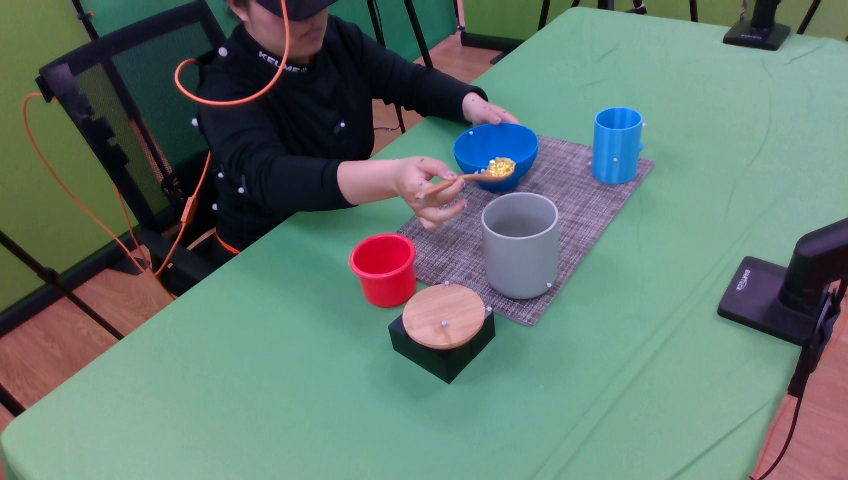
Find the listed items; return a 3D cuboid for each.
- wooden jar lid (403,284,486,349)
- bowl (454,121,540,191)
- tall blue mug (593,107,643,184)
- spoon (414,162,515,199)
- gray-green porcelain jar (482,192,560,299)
[{"bbox_3d":[0.027,0.101,0.786,0.108,0.021,0.108,-5,39,4],"label":"wooden jar lid"},{"bbox_3d":[0.131,-0.140,1.078,0.151,0.077,0.150,-6,40,5],"label":"bowl"},{"bbox_3d":[0.330,-0.172,1.052,0.078,0.108,0.106,-12,40,0],"label":"tall blue mug"},{"bbox_3d":[0.057,-0.083,0.828,0.195,0.021,0.041,-17,29,-41],"label":"spoon"},{"bbox_3d":[0.139,0.012,0.858,0.106,0.127,0.105,-6,40,5],"label":"gray-green porcelain jar"}]
